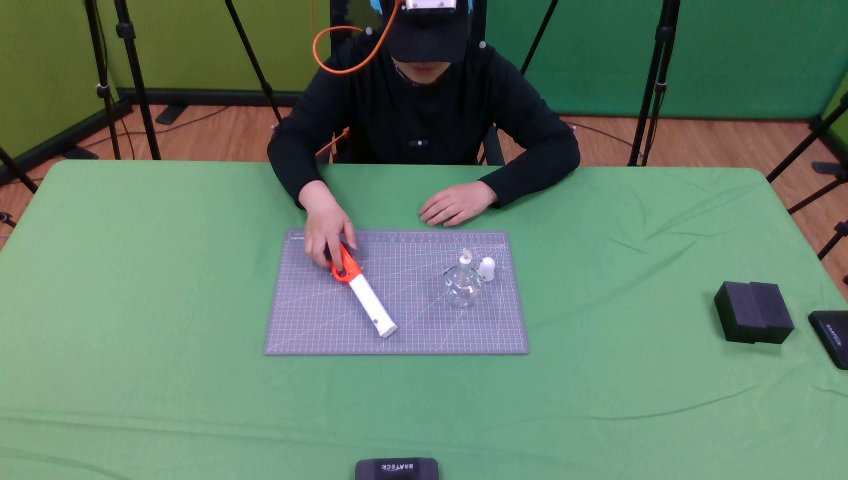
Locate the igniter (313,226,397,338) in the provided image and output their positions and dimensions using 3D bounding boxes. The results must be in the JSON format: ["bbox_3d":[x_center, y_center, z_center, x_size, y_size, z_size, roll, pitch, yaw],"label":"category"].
[{"bbox_3d":[-0.132,0.066,1.106,0.057,0.025,0.275,-42,58,6],"label":"igniter"}]

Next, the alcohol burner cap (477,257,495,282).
[{"bbox_3d":[0.118,0.053,1.140,0.034,0.048,0.033,2,46,-2],"label":"alcohol burner cap"}]

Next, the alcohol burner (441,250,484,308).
[{"bbox_3d":[0.069,0.064,1.075,0.078,0.120,0.077,1,45,-1],"label":"alcohol burner"}]
